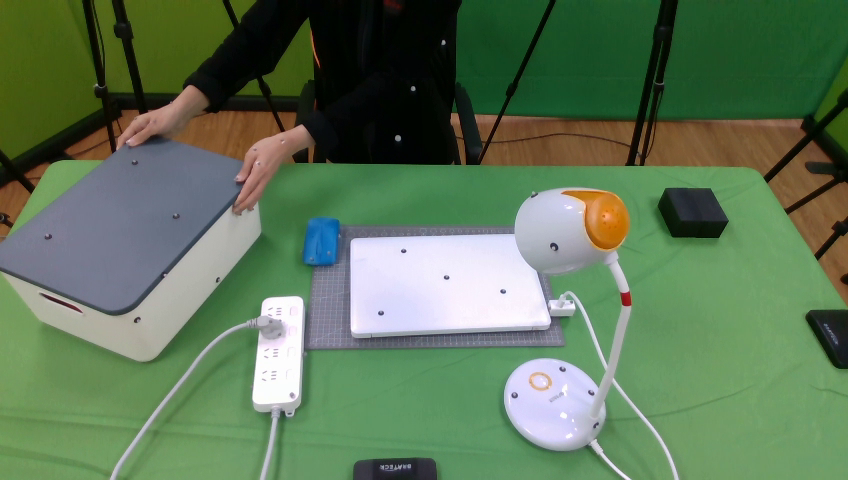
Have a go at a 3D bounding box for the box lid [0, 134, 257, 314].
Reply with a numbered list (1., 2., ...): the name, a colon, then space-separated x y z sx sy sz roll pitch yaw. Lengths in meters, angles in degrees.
1. box lid: -0.479 -0.046 1.000 0.263 0.015 0.370 18 47 12

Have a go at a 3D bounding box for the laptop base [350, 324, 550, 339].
1. laptop base: 0.039 0.081 1.124 0.355 0.023 0.234 -2 43 -6

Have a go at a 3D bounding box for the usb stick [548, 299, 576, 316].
1. usb stick: 0.239 0.121 1.083 0.059 0.027 0.021 -1 50 -2

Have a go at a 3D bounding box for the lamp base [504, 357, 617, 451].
1. lamp base: 0.220 0.211 0.903 0.160 0.181 0.178 -32 59 -30

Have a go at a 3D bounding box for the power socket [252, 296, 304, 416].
1. power socket: -0.238 0.181 0.997 0.072 0.033 0.225 -3 47 -5

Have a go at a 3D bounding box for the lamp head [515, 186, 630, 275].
1. lamp head: 0.188 -0.013 0.728 0.112 0.112 0.122 -25 9 -25

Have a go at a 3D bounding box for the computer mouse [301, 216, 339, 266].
1. computer mouse: -0.200 -0.002 1.169 0.063 0.041 0.116 4 50 -3

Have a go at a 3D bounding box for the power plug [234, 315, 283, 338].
1. power plug: -0.269 0.143 1.000 0.072 0.053 0.035 4 47 2

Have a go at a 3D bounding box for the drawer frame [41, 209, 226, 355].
1. drawer frame: -0.490 0.066 1.043 0.201 0.083 0.212 16 54 13

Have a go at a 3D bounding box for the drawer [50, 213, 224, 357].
1. drawer: -0.492 0.075 1.057 0.194 0.073 0.211 18 57 10

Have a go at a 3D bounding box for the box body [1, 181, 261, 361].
1. box body: -0.482 0.006 1.056 0.254 0.161 0.362 17 47 12

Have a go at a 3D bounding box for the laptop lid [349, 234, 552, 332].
1. laptop lid: 0.040 0.071 1.118 0.357 0.013 0.240 0 44 -5
